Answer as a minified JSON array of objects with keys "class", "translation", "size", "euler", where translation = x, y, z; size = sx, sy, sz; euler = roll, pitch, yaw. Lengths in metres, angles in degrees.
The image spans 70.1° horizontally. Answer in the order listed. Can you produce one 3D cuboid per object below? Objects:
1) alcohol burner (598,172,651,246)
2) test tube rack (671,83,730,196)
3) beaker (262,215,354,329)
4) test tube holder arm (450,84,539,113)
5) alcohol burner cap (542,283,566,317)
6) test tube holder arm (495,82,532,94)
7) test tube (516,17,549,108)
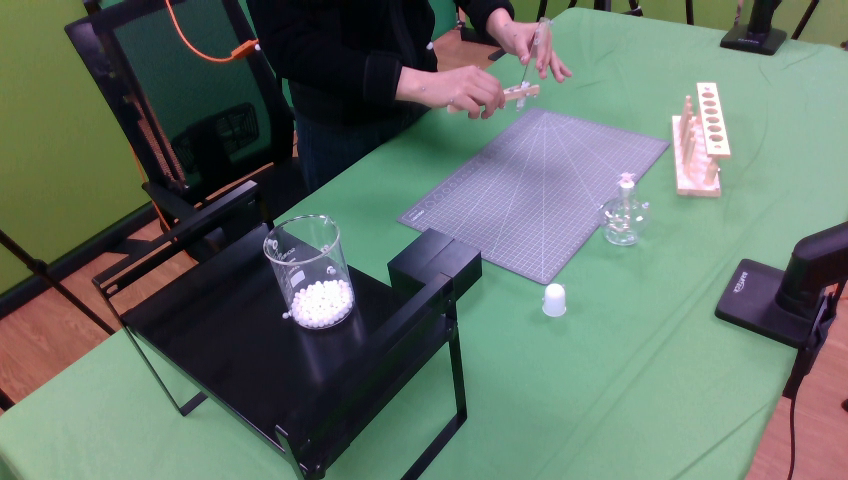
[{"class":"alcohol burner","translation":[0.306,-0.051,0.918],"size":[0.078,0.119,0.077],"euler":[-6,41,5]},{"class":"test tube rack","translation":[0.482,-0.184,1.067],"size":[0.066,0.085,0.242],"euler":[6,42,15]},{"class":"beaker","translation":[-0.112,0.034,0.616],"size":[0.073,0.101,0.084],"euler":[13,44,23]},{"class":"test tube holder arm","translation":[0.118,-0.234,0.993],"size":[0.179,0.015,0.013],"euler":[-20,31,-27]},{"class":"alcohol burner cap","translation":[0.181,0.081,0.840],"size":[0.034,0.048,0.033],"euler":[-4,40,4]},{"class":"test tube holder arm","translation":[0.151,-0.251,1.020],"size":[0.088,0.015,0.010],"euler":[-26,35,-36]},{"class":"test tube","translation":[0.179,-0.293,1.007],"size":[0.017,0.150,0.017],"euler":[10,31,-6]}]
